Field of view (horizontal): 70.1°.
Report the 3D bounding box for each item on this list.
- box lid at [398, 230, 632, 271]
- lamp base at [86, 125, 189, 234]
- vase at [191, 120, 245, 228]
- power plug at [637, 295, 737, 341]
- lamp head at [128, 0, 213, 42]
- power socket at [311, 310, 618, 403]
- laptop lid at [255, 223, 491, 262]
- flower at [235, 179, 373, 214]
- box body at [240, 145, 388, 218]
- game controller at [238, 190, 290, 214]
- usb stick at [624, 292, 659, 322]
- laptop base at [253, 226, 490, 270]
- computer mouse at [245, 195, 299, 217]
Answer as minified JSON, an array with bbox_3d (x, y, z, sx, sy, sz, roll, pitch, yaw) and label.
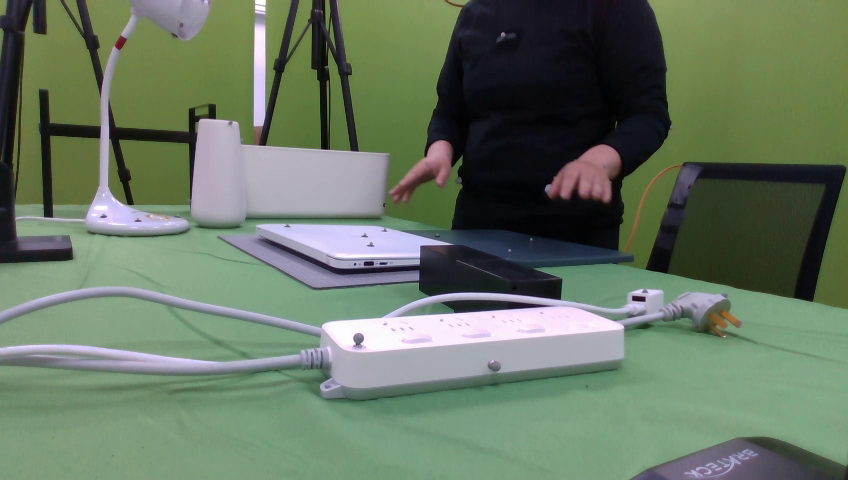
[{"bbox_3d":[0.140,0.013,1.045,0.265,0.015,0.369,-1,8,-32],"label":"box lid"},{"bbox_3d":[-0.497,-0.105,1.027,0.179,0.180,0.160,1,7,2],"label":"lamp base"},{"bbox_3d":[-0.389,-0.124,1.142,0.098,0.200,0.098,3,9,0],"label":"vase"},{"bbox_3d":[0.235,0.077,0.535,0.072,0.035,0.052,-33,40,-5],"label":"power plug"},{"bbox_3d":[-0.423,-0.394,0.980,0.123,0.112,0.112,20,7,-3],"label":"lamp head"},{"bbox_3d":[0.034,0.074,0.415,0.228,0.032,0.072,-1,7,-24],"label":"power socket"},{"bbox_3d":[-0.093,0.000,0.911,0.243,0.013,0.355,1,7,-30],"label":"laptop lid"},{"bbox_3d":[-0.267,-0.090,1.419,0.364,0.038,0.044,10,-43,-40],"label":"flower"},{"bbox_3d":[-0.297,-0.143,1.474,0.366,0.160,0.253,-1,9,-30],"label":"box body"},{"bbox_3d":[-0.391,-0.094,1.465,0.097,0.051,0.154,-3,8,-29],"label":"game controller"},{"bbox_3d":[0.211,0.064,0.580,0.021,0.027,0.059,-3,-5,35],"label":"usb stick"},{"bbox_3d":[-0.096,0.011,0.911,0.237,0.023,0.352,3,6,-32],"label":"laptop base"},{"bbox_3d":[-0.345,-0.077,1.371,0.118,0.041,0.062,-12,17,-32],"label":"computer mouse"}]
